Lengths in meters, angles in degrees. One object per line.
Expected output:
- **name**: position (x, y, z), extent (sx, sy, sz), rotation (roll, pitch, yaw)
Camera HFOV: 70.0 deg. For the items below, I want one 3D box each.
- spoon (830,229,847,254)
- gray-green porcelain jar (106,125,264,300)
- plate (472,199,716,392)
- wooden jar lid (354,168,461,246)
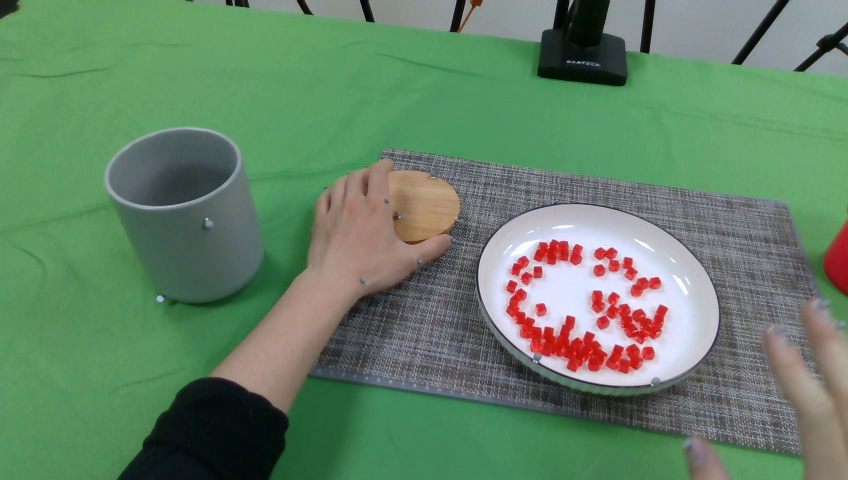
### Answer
- **spoon**: position (0.464, -0.012, 0.529), extent (0.193, 0.022, 0.041), rotation (-10, 26, 47)
- **gray-green porcelain jar**: position (-0.200, -0.018, 0.529), extent (0.106, 0.127, 0.105), rotation (1, 46, -1)
- **plate**: position (0.145, 0.047, 0.538), extent (0.208, 0.039, 0.205), rotation (1, 46, -1)
- **wooden jar lid**: position (-0.017, -0.033, 0.620), extent (0.108, 0.021, 0.107), rotation (2, 46, -1)
